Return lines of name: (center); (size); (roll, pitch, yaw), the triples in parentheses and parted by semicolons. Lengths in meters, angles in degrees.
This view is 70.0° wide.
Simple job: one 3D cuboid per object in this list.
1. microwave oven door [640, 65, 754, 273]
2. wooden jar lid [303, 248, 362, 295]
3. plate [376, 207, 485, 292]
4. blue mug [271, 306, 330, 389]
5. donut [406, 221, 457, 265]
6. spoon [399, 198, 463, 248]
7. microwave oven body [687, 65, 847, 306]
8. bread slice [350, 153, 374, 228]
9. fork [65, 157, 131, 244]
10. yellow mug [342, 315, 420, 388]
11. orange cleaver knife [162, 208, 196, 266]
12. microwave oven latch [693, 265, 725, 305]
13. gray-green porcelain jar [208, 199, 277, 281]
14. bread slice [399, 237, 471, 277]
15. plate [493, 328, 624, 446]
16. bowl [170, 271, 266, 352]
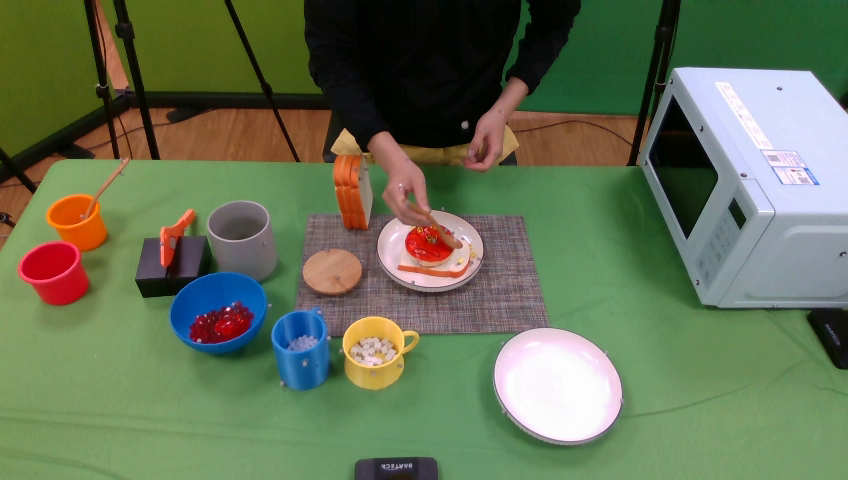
microwave oven door: (0.523, -0.147, 1.193); (0.039, 0.245, 0.353); (0, 47, -3)
wooden jar lid: (-0.169, 0.060, 1.122); (0.108, 0.021, 0.107); (2, 46, -2)
plate: (0.012, 0.021, 1.158); (0.209, 0.038, 0.208); (2, 47, -2)
blue mug: (-0.188, 0.163, 0.969); (0.082, 0.106, 0.116); (15, 47, 10)
donut: (0.014, 0.004, 1.136); (0.099, 0.048, 0.098); (1, 48, -1)
spoon: (0.014, -0.030, 1.045); (0.021, 0.195, 0.041); (-41, 50, 7)
microwave oven body: (0.669, -0.111, 1.176); (0.326, 0.261, 0.439); (0, 46, -3)
bread slice: (-0.123, -0.104, 1.207); (0.018, 0.135, 0.106); (-2, 48, 7)
fork: (-0.608, -0.074, 1.132); (0.207, 0.019, 0.028); (-52, 48, 10)
yellow mug: (-0.068, 0.177, 0.990); (0.131, 0.064, 0.099); (-15, 50, -19)
orange cleaver knife: (-0.454, -0.010, 1.129); (0.012, 0.077, 0.210); (-1, 17, -6)
microwave oven latch: (0.522, 0.081, 1.115); (0.030, 0.029, 0.078); (2, 46, -1)
gray-green porcelain jar: (-0.323, 0.007, 1.092); (0.106, 0.127, 0.105); (2, 46, -2)
bread slice: (0.026, 0.024, 1.160); (0.131, 0.019, 0.104); (8, 47, 7)
plate: (0.213, 0.236, 0.974); (0.208, 0.039, 0.206); (2, 46, -2)
bowl: (-0.333, 0.132, 1.006); (0.151, 0.077, 0.150); (2, 46, -2)
